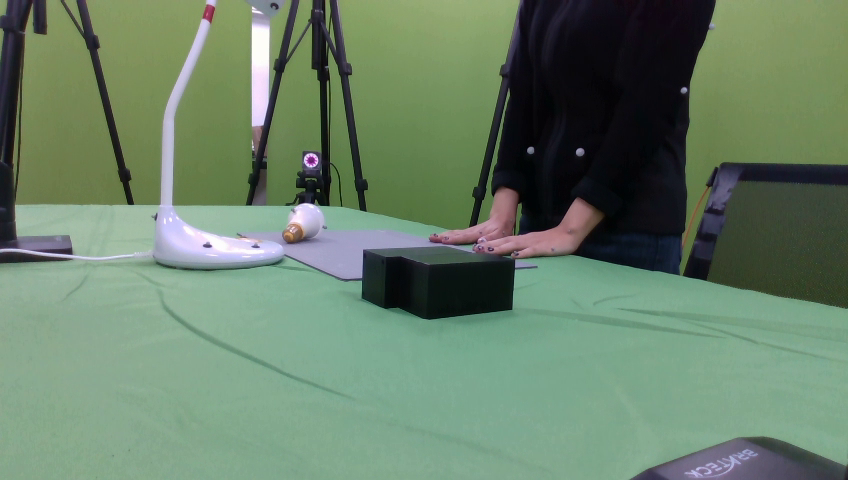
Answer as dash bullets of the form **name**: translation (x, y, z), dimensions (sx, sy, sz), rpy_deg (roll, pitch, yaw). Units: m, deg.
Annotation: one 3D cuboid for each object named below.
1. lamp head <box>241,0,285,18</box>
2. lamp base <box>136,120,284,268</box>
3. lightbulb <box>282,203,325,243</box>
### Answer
- **lamp head**: translation (-0.233, -0.366, 0.790), dimensions (0.123, 0.112, 0.112), rpy_deg (15, -1, -33)
- **lamp base**: translation (-0.272, -0.061, 0.769), dimensions (0.180, 0.180, 0.160), rpy_deg (-7, 11, -37)
- **lightbulb**: translation (-0.202, -0.023, 0.993), dimensions (0.059, 0.059, 0.108), rpy_deg (3, 23, 12)
